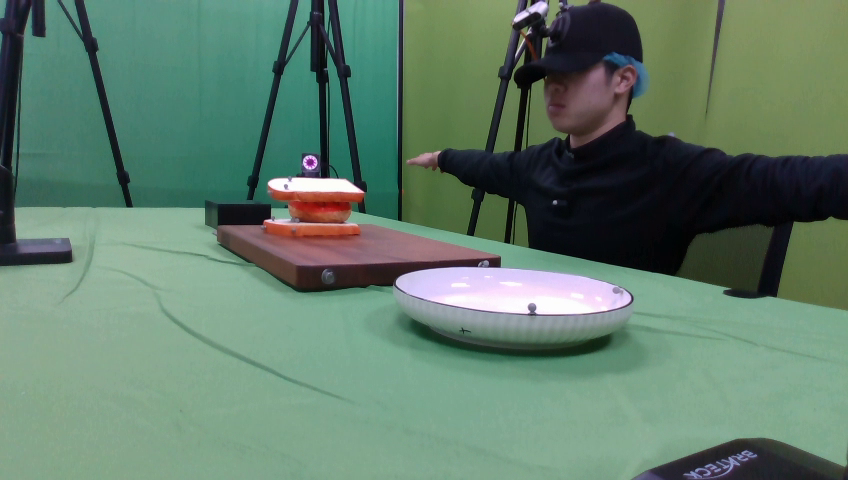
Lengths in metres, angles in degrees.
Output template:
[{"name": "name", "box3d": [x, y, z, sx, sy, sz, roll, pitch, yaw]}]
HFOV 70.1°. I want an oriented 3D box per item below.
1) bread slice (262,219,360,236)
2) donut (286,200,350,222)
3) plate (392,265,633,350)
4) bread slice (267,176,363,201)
[{"name": "bread slice", "box3d": [-0.179, -0.021, 0.931, 0.132, 0.019, 0.104, -2, 7, -35]}, {"name": "donut", "box3d": [-0.165, -0.051, 0.938, 0.099, 0.048, 0.099, 4, 8, 0]}, {"name": "plate", "box3d": [0.074, 0.057, 0.533, 0.209, 0.038, 0.209, 3, 7, 0]}, {"name": "bread slice", "box3d": [-0.169, -0.078, 0.923, 0.135, 0.018, 0.106, -4, 18, -26]}]
